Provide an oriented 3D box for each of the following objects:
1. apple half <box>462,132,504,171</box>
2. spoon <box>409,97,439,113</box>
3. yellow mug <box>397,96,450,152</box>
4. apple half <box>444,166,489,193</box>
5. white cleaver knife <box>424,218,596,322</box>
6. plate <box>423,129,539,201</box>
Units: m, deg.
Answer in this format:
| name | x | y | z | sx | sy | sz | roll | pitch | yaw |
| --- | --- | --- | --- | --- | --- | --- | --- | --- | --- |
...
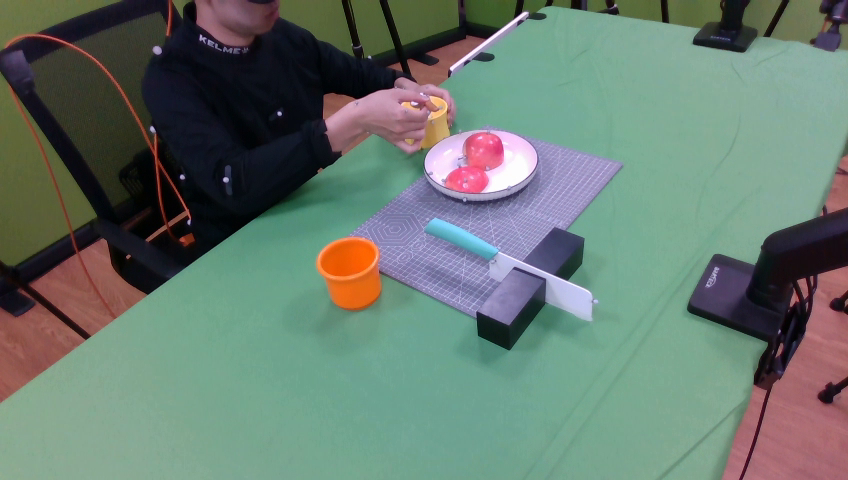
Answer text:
| name | x | y | z | sx | sy | sz | roll | pitch | yaw |
| --- | --- | --- | --- | --- | --- | --- | --- | --- | --- |
| apple half | 0.109 | -0.170 | 1.110 | 0.075 | 0.053 | 0.080 | -6 | 40 | -2 |
| spoon | 0.002 | -0.242 | 1.077 | 0.042 | 0.022 | 0.193 | -12 | 16 | -4 |
| yellow mug | -0.004 | -0.226 | 1.200 | 0.099 | 0.064 | 0.130 | 5 | 43 | 15 |
| apple half | 0.074 | -0.112 | 1.063 | 0.081 | 0.033 | 0.081 | -6 | 39 | 5 |
| white cleaver knife | 0.114 | 0.042 | 0.865 | 0.284 | 0.066 | 0.021 | 27 | 47 | 28 |
| plate | 0.103 | -0.132 | 1.092 | 0.209 | 0.038 | 0.208 | -4 | 40 | 4 |
